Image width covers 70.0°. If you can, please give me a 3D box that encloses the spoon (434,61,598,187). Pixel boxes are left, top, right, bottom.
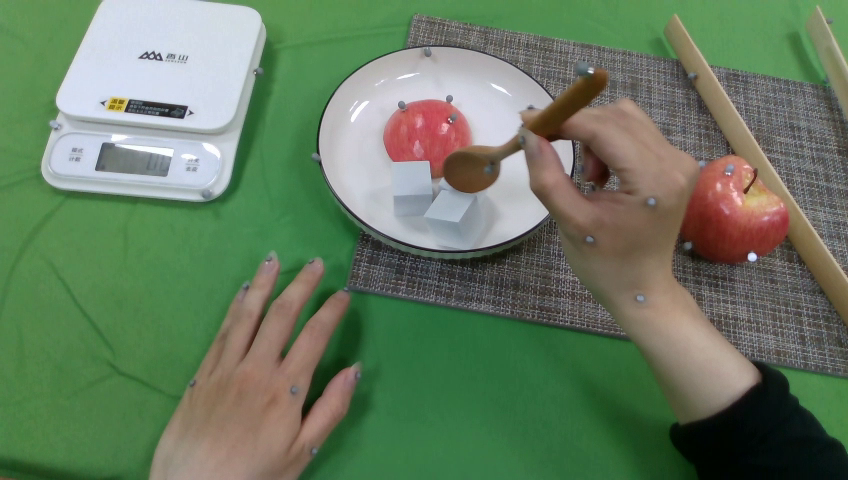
[{"bbox_3d":[0.049,-0.062,0.367,0.042,0.193,0.021,29,77,-12],"label":"spoon"}]

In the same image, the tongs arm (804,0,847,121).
[{"bbox_3d":[0.381,-0.065,0.529,0.051,0.027,0.381,0,63,-6],"label":"tongs arm"}]

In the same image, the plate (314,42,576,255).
[{"bbox_3d":[0.017,-0.075,0.499,0.209,0.038,0.207,2,62,-4],"label":"plate"}]

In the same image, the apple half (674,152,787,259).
[{"bbox_3d":[0.226,-0.020,0.468,0.053,0.075,0.080,-25,70,-12],"label":"apple half"}]

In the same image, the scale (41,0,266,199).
[{"bbox_3d":[-0.224,-0.130,0.515,0.149,0.032,0.199,6,62,-2],"label":"scale"}]

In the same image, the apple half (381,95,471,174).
[{"bbox_3d":[0.004,-0.094,0.502,0.081,0.033,0.080,2,59,-3],"label":"apple half"}]

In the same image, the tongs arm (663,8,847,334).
[{"bbox_3d":[0.298,-0.057,0.520,0.028,0.028,0.384,-11,64,-15],"label":"tongs arm"}]
